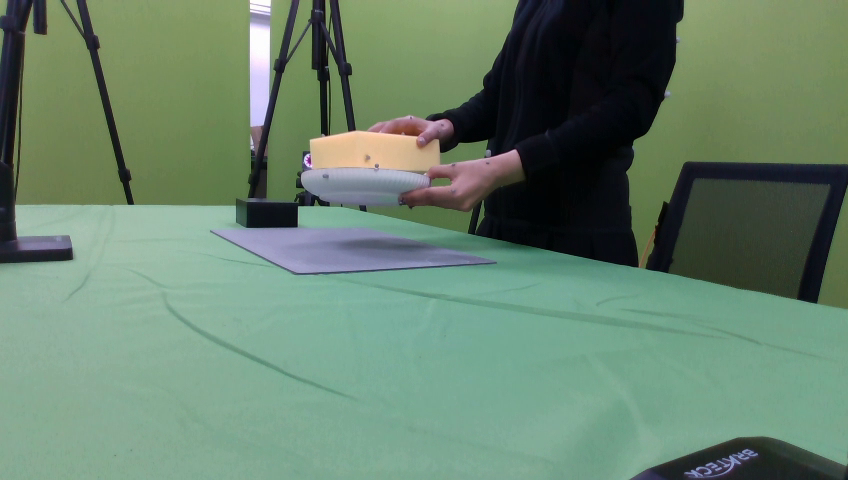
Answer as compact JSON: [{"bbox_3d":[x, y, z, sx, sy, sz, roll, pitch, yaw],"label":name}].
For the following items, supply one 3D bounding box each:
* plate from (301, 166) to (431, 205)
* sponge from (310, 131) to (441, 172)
[{"bbox_3d":[-0.091,-0.083,0.966,0.209,0.038,0.209,1,-3,0],"label":"plate"},{"bbox_3d":[-0.080,-0.146,1.049,0.117,0.061,0.208,-1,4,39],"label":"sponge"}]
